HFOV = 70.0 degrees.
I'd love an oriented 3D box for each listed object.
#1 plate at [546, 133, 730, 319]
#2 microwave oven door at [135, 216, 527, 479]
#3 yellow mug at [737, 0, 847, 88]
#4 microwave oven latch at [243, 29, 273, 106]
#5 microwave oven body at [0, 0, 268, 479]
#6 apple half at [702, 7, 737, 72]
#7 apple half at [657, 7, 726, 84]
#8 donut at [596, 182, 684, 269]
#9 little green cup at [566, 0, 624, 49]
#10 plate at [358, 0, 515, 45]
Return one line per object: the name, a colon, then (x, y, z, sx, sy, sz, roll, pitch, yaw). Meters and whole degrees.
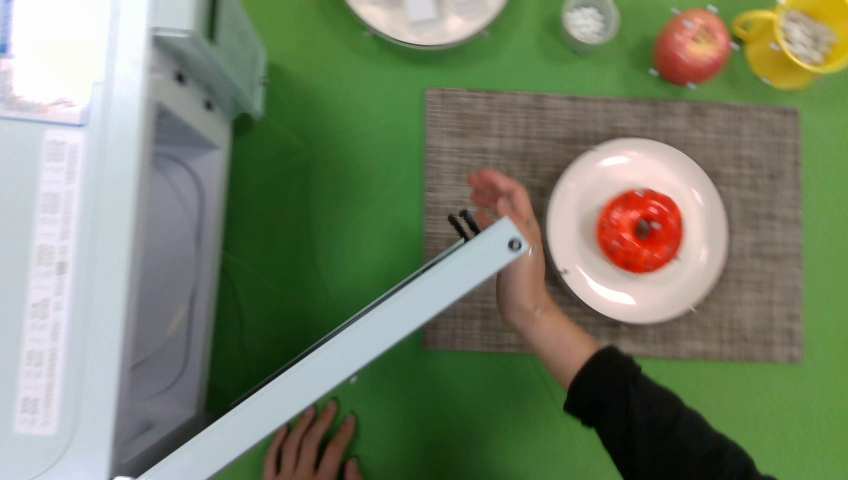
plate: (0.239, -0.016, 0.690, 0.209, 0.038, 0.209, 0, 88, -3)
microwave oven door: (-0.079, 0.096, 0.551, 0.356, 0.244, 0.039, -36, 89, -4)
yellow mug: (0.430, -0.239, 0.700, 0.131, 0.064, 0.100, 14, 86, -2)
microwave oven latch: (-0.183, -0.188, 0.656, 0.030, 0.029, 0.079, 8, 88, -3)
microwave oven body: (-0.342, -0.031, 0.544, 0.326, 0.260, 0.441, 6, 88, -4)
apple half: (0.331, -0.230, 0.690, 0.033, 0.081, 0.081, -24, 89, 1)
apple half: (0.295, -0.214, 0.688, 0.053, 0.074, 0.081, -24, 93, 0)
donut: (0.242, -0.016, 0.679, 0.099, 0.048, 0.099, 0, 89, -2)
little green cup: (0.195, -0.253, 0.701, 0.061, 0.038, 0.061, 0, 87, -3)
plate: (0.013, -0.322, 0.692, 0.208, 0.039, 0.207, 0, 88, -3)
